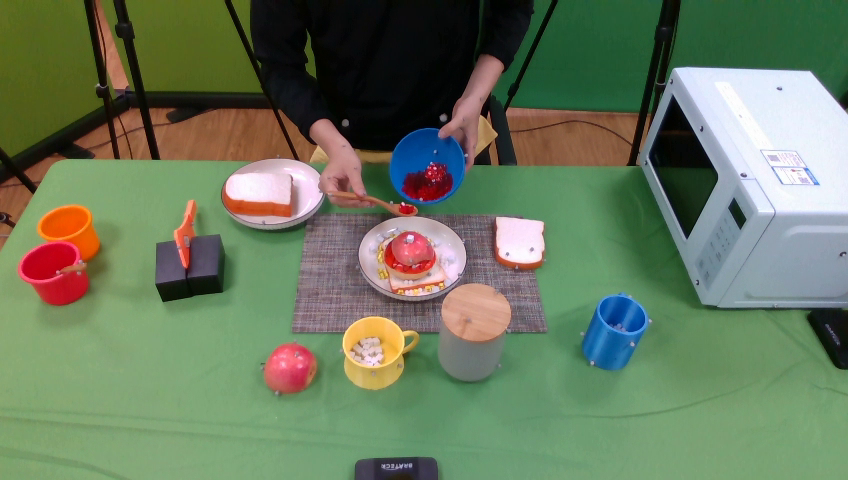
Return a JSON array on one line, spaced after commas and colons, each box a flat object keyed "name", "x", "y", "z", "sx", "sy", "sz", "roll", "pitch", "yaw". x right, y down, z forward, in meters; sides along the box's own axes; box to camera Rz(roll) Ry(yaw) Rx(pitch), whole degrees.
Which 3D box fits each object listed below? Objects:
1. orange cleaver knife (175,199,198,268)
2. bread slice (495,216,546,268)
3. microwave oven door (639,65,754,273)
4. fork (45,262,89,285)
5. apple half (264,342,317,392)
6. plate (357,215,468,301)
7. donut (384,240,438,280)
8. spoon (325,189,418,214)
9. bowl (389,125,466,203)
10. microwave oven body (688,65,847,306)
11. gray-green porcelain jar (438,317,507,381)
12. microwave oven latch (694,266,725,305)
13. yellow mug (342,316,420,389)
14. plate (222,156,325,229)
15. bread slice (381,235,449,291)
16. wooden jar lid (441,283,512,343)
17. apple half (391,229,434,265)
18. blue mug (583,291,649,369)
[{"name": "orange cleaver knife", "x": -0.438, "y": -0.017, "z": 1.138, "sx": 0.012, "sy": 0.077, "sz": 0.210, "roll": -14, "pitch": 27, "yaw": -6}, {"name": "bread slice", "x": 0.194, "y": 0.002, "z": 1.205, "sx": 0.105, "sy": 0.019, "sz": 0.131, "roll": 5, "pitch": 45, "yaw": 2}, {"name": "microwave oven door", "x": 0.522, "y": -0.147, "z": 1.193, "sx": 0.039, "sy": 0.245, "sz": 0.353, "roll": 0, "pitch": 47, "yaw": -3}, {"name": "fork", "x": -0.598, "y": 0.054, "z": 1.014, "sx": 0.207, "sy": 0.019, "sz": 0.028, "roll": -15, "pitch": 28, "yaw": 45}, {"name": "apple half", "x": -0.214, "y": 0.198, "z": 0.970, "sx": 0.074, "sy": 0.053, "sz": 0.080, "roll": 19, "pitch": 48, "yaw": 10}, {"name": "plate", "x": -0.022, "y": 0.037, "z": 1.141, "sx": 0.208, "sy": 0.039, "sz": 0.206, "roll": 2, "pitch": 46, "yaw": -2}, {"name": "donut", "x": -0.025, "y": 0.029, "z": 1.110, "sx": 0.099, "sy": 0.048, "sz": 0.098, "roll": 3, "pitch": 46, "yaw": -3}, {"name": "spoon", "x": -0.088, "y": -0.070, "z": 1.049, "sx": 0.195, "sy": 0.021, "sz": 0.041, "roll": 12, "pitch": 26, "yaw": -42}, {"name": "bowl", "x": 0.014, "y": -0.140, "z": 1.184, "sx": 0.151, "sy": 0.077, "sz": 0.151, "roll": -2, "pitch": 82, "yaw": 15}, {"name": "microwave oven body", "x": 0.669, "y": -0.111, "z": 1.176, "sx": 0.326, "sy": 0.261, "sz": 0.439, "roll": 0, "pitch": 46, "yaw": -3}, {"name": "gray-green porcelain jar", "x": 0.076, "y": 0.158, "z": 0.977, "sx": 0.106, "sy": 0.127, "sz": 0.105, "roll": 2, "pitch": 47, "yaw": -2}, {"name": "microwave oven latch", "x": 0.523, "y": 0.082, "z": 1.115, "sx": 0.030, "sy": 0.029, "sz": 0.078, "roll": 3, "pitch": 46, "yaw": 0}, {"name": "yellow mug", "x": -0.067, "y": 0.177, "z": 0.991, "sx": 0.131, "sy": 0.064, "sz": 0.099, "roll": -16, "pitch": 50, "yaw": -19}, {"name": "plate", "x": -0.308, "y": -0.095, "z": 1.251, "sx": 0.209, "sy": 0.038, "sz": 0.208, "roll": 3, "pitch": 47, "yaw": -3}, {"name": "bread slice", "x": -0.027, "y": 0.038, "z": 1.139, "sx": 0.107, "sy": 0.018, "sz": 0.133, "roll": -12, "pitch": 47, "yaw": -16}, {"name": "wooden jar lid", "x": 0.080, "y": 0.114, "z": 0.931, "sx": 0.108, "sy": 0.021, "sz": 0.107, "roll": 1, "pitch": 49, "yaw": 0}, {"name": "apple half", "x": -0.021, "y": 0.005, "z": 1.083, "sx": 0.081, "sy": 0.033, "sz": 0.081, "roll": 7, "pitch": 49, "yaw": -8}, {"name": "blue mug", "x": 0.324, "y": 0.142, "z": 1.023, "sx": 0.082, "sy": 0.106, "sz": 0.116, "roll": 15, "pitch": 47, "yaw": 11}]
